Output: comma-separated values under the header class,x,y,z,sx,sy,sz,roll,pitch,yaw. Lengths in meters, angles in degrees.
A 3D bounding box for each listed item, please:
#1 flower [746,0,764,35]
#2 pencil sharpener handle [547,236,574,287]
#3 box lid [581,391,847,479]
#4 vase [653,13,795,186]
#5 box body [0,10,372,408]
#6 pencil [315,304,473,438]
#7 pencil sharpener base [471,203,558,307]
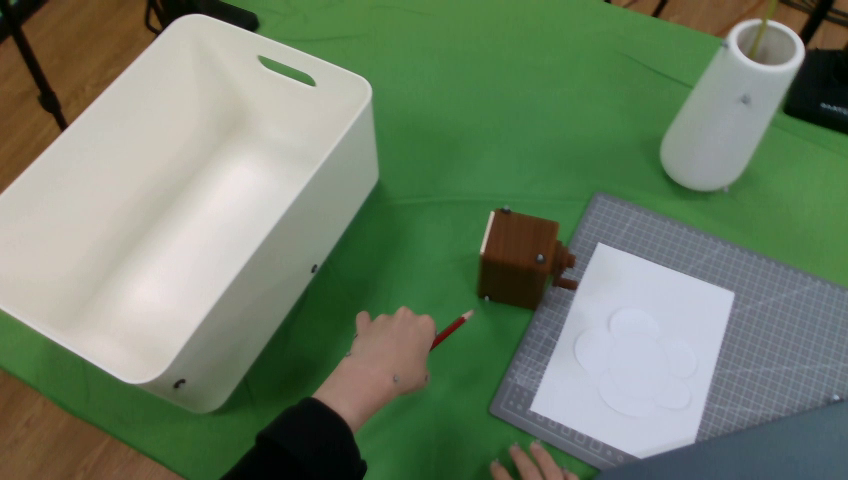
class,x,y,z,sx,sy,sz,roll,pitch,yaw
flower,0.316,-0.198,0.592,0.044,0.365,0.038,17,47,15
pencil sharpener handle,0.142,0.025,0.615,0.030,0.068,0.035,12,57,9
box lid,0.349,0.289,0.536,0.372,0.015,0.261,-15,64,-4
vase,0.319,-0.146,0.659,0.098,0.201,0.097,-1,61,3
box body,-0.243,-0.035,0.645,0.253,0.161,0.362,24,66,14
pencil,-0.025,0.123,0.586,0.194,0.012,0.012,-39,67,-13
pencil sharpener base,0.094,0.019,0.634,0.076,0.108,0.061,12,63,9
